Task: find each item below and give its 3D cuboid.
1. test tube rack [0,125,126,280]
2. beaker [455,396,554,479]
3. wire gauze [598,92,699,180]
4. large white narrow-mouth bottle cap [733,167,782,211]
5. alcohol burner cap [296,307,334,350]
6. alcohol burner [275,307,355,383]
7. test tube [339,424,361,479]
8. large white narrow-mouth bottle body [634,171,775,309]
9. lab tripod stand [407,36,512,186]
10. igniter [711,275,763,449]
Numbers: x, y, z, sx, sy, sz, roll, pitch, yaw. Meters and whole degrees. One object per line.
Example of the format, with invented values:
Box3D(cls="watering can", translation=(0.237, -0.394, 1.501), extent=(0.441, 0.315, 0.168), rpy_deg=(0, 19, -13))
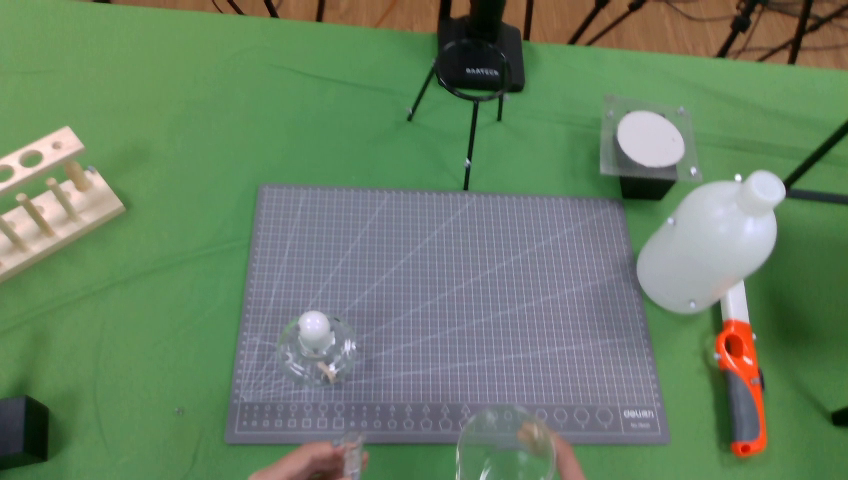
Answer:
Box3D(cls="test tube rack", translation=(-0.445, -0.013, 0.616), extent=(0.242, 0.086, 0.066), rpy_deg=(-36, 72, -23))
Box3D(cls="beaker", translation=(0.065, 0.184, 0.492), extent=(0.084, 0.101, 0.073), rpy_deg=(-35, 56, -14))
Box3D(cls="wire gauze", translation=(0.277, -0.129, 0.757), extent=(0.121, 0.011, 0.124), rpy_deg=(9, 61, -2))
Box3D(cls="large white narrow-mouth bottle cap", translation=(0.312, -0.048, 0.569), extent=(0.038, 0.024, 0.037), rpy_deg=(3, 61, -5))
Box3D(cls="alcohol burner cap", translation=(-0.100, 0.079, 0.550), extent=(0.034, 0.048, 0.033), rpy_deg=(1, 66, -2))
Box3D(cls="alcohol burner", translation=(-0.104, 0.095, 0.582), extent=(0.078, 0.120, 0.077), rpy_deg=(4, 60, -7))
Box3D(cls="test tube", translation=(-0.059, 0.189, 0.483), extent=(0.017, 0.151, 0.017), rpy_deg=(4, 46, -4))
Box3D(cls="large white narrow-mouth bottle body", translation=(0.304, -0.006, 0.644), extent=(0.102, 0.196, 0.101), rpy_deg=(3, 61, -4))
Box3D(cls="lab tripod stand", translation=(0.050, -0.161, 0.730), extent=(0.149, 0.132, 0.147), rpy_deg=(4, 62, -7))
Box3D(cls="igniter", translation=(0.350, 0.098, 0.689), extent=(0.057, 0.025, 0.274), rpy_deg=(16, 61, -13))
